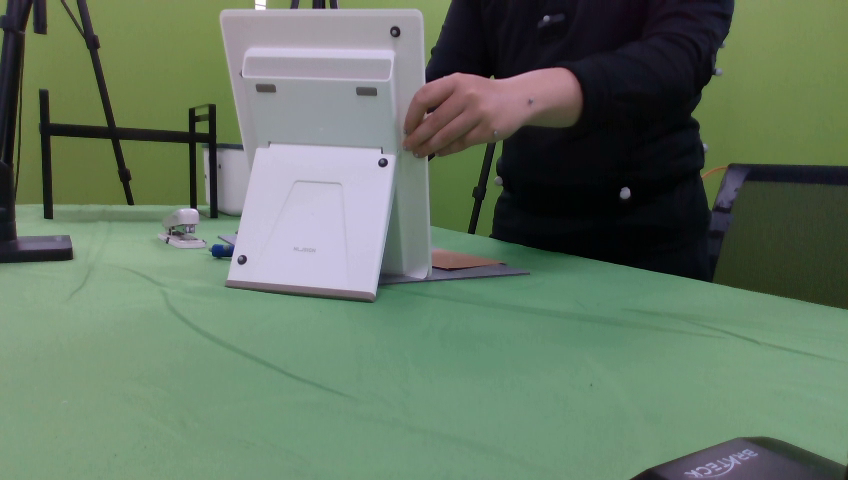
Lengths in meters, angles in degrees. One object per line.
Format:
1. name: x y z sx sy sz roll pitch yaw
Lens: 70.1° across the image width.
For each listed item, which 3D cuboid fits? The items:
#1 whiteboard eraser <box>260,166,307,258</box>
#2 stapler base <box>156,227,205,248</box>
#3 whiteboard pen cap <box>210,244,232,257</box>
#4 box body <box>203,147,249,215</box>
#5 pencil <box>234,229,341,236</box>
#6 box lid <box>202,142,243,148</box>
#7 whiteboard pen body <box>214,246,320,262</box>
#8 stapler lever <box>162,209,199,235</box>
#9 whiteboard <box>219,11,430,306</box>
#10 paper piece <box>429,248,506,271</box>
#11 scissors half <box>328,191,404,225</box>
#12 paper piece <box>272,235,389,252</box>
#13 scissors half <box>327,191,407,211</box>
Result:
1. whiteboard eraser: -0.176 -0.032 0.749 0.055 0.112 0.042 16 32 10
2. stapler base: -0.376 -0.007 0.934 0.041 0.024 0.130 1 5 -38
3. whiteboard pen cap: -0.267 0.014 0.807 0.033 0.018 0.018 1 8 -1
4. box body: -0.347 -0.152 1.519 0.366 0.160 0.253 -2 9 -31
5. pencil: -0.232 -0.012 1.053 0.195 0.012 0.012 0 8 -36
6. box lid: -0.345 -0.225 1.509 0.373 0.015 0.262 -2 8 -31
7. whiteboard pen body: -0.209 0.018 0.804 0.141 0.017 0.017 3 7 1
8. stapler lever: -0.376 -0.031 0.933 0.027 0.040 0.117 1 7 -38
9. whiteboard: -0.119 -0.064 0.619 0.217 0.305 0.144 5 29 13
10. paper piece: 0.025 0.027 0.864 0.134 0.004 0.136 10 11 42
11. scissors half: -0.128 -0.072 1.320 0.175 0.040 0.013 22 6 -6
12. paper piece: -0.152 0.004 0.978 0.135 0.008 0.139 13 10 35
13. scissors half: -0.123 -0.092 1.316 0.175 0.040 0.013 6 13 -4
